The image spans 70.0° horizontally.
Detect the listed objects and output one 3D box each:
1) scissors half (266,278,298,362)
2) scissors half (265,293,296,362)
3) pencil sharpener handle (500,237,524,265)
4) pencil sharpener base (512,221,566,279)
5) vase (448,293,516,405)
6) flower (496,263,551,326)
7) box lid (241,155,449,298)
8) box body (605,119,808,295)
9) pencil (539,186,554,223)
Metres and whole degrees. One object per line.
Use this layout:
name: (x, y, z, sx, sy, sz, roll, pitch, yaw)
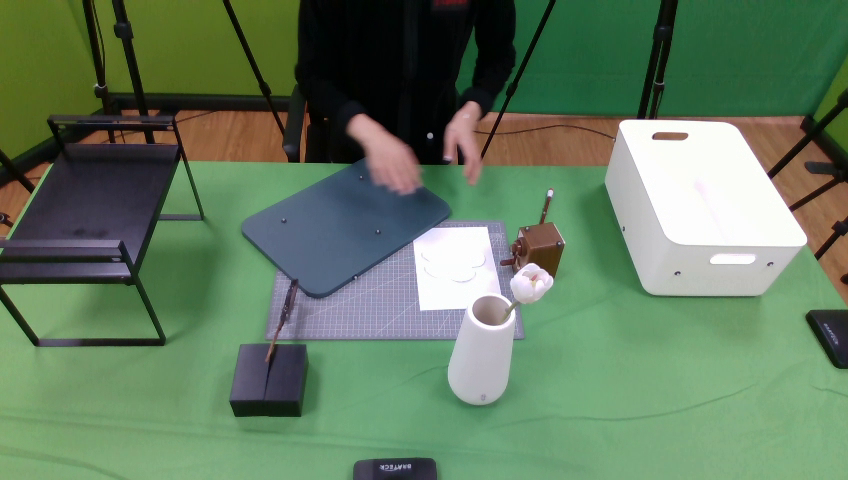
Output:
scissors half: (-0.234, 0.127, 0.993, 0.013, 0.040, 0.174, 12, 46, -3)
scissors half: (-0.239, 0.143, 1.005, 0.013, 0.040, 0.174, 17, 28, -6)
pencil sharpener handle: (0.159, 0.024, 1.111, 0.031, 0.068, 0.035, -9, 54, -12)
pencil sharpener base: (0.209, 0.025, 1.130, 0.077, 0.107, 0.061, -9, 48, -12)
vase: (0.091, 0.169, 0.921, 0.098, 0.201, 0.097, 3, 47, -3)
flower: (0.102, 0.121, 0.853, 0.044, 0.363, 0.038, -1, 64, -10)
box lid: (-0.157, -0.043, 1.234, 0.371, 0.015, 0.262, -34, 56, -31)
box body: (0.529, -0.068, 1.205, 0.254, 0.161, 0.361, 1, 46, -4)
pencil: (0.250, -0.049, 1.273, 0.012, 0.012, 0.193, 16, 49, 11)
